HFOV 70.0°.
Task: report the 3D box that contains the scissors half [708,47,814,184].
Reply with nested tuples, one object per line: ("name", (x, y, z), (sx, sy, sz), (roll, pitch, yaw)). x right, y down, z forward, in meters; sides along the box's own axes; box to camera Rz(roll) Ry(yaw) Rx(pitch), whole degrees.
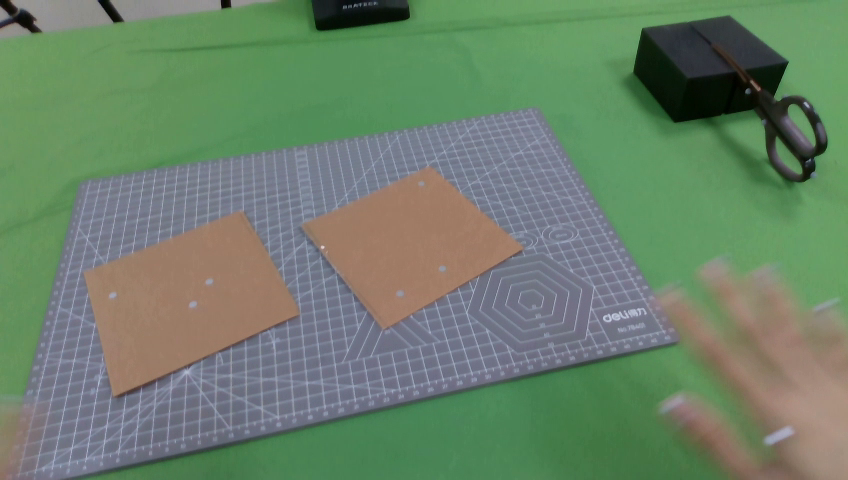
("scissors half", (0.304, -0.120, 0.561), (0.013, 0.040, 0.173), (-16, 60, 0))

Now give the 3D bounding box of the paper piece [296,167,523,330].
("paper piece", (-0.013, -0.001, 0.501), (0.138, 0.009, 0.134), (-27, 54, -22))

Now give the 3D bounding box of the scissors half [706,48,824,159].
("scissors half", (0.300, -0.132, 0.545), (0.013, 0.040, 0.173), (-19, 43, 3))

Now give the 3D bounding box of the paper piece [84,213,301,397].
("paper piece", (-0.183, 0.041, 0.468), (0.136, 0.004, 0.134), (-23, 48, -19))
